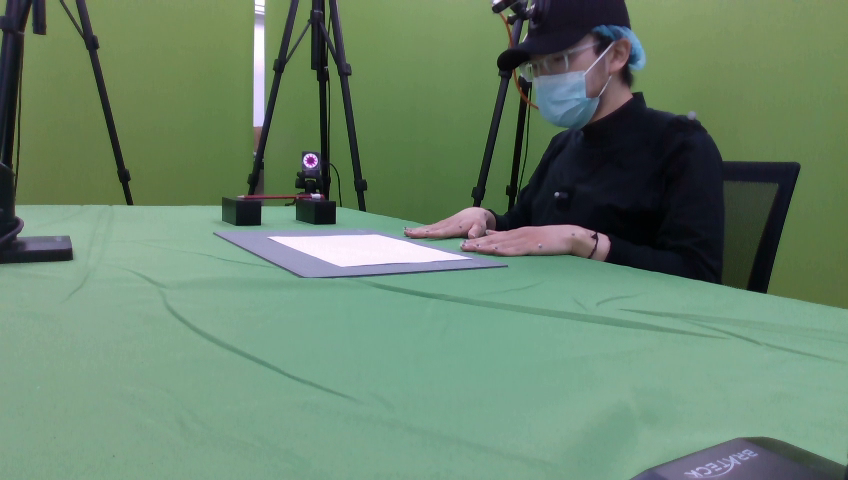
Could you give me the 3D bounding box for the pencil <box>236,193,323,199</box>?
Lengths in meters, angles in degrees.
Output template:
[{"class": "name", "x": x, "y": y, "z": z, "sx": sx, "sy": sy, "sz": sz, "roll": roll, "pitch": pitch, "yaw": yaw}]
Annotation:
[{"class": "pencil", "x": -0.302, "y": -0.092, "z": 1.280, "sx": 0.195, "sy": 0.012, "sz": 0.012, "roll": -4, "pitch": 10, "yaw": -36}]
